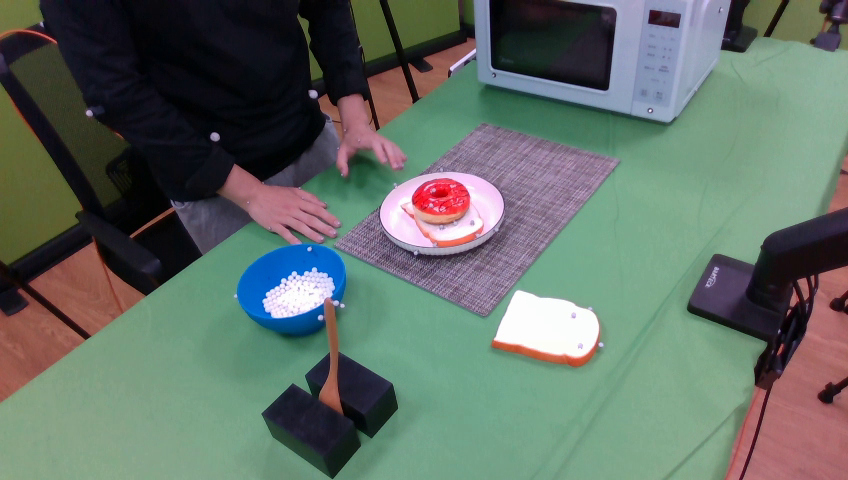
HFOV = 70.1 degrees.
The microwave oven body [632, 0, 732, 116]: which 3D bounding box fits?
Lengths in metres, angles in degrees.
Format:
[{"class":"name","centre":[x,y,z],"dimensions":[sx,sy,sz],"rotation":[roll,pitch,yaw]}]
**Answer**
[{"class":"microwave oven body","centre":[0.377,-0.462,1.267],"dimensions":[0.438,0.261,0.327],"rotation":[21,48,30]}]

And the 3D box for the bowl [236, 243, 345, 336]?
[{"class":"bowl","centre":[-0.180,0.082,0.855],"dimensions":[0.151,0.077,0.150],"rotation":[-4,41,4]}]

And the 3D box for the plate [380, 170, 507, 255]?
[{"class":"plate","centre":[0.033,-0.042,0.995],"dimensions":[0.207,0.039,0.206],"rotation":[-4,40,4]}]

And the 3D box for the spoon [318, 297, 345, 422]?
[{"class":"spoon","centre":[-0.106,0.139,0.687],"dimensions":[0.041,0.194,0.022],"rotation":[26,37,31]}]

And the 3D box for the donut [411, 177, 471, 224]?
[{"class":"donut","centre":[0.028,-0.064,0.978],"dimensions":[0.099,0.048,0.098],"rotation":[-4,40,3]}]

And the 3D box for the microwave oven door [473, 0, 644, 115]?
[{"class":"microwave oven door","centre":[0.257,-0.396,1.199],"dimensions":[0.353,0.245,0.039],"rotation":[21,48,29]}]

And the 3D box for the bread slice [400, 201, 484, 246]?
[{"class":"bread slice","centre":[0.037,-0.038,0.990],"dimensions":[0.107,0.018,0.133],"rotation":[-23,43,-17]}]

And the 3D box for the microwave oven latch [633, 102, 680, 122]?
[{"class":"microwave oven latch","centre":[0.444,-0.249,1.157],"dimensions":[0.078,0.029,0.030],"rotation":[21,49,30]}]

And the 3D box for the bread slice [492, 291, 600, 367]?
[{"class":"bread slice","centre":[0.169,0.118,0.811],"dimensions":[0.131,0.019,0.105],"rotation":[11,45,22]}]
